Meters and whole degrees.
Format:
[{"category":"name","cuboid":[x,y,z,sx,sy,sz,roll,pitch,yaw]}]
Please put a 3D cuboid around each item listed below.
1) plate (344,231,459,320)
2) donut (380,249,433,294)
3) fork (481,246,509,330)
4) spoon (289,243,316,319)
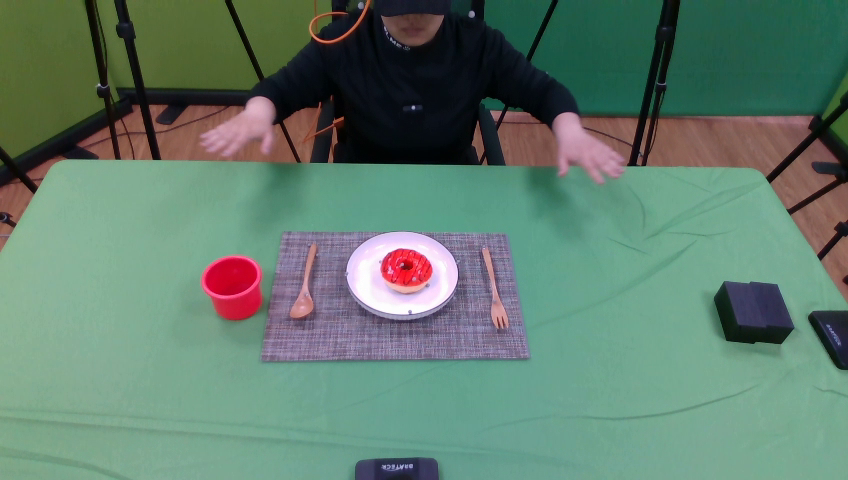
[{"category":"plate","cuboid":[-0.042,0.068,1.115,0.209,0.038,0.208,2,46,-2]},{"category":"donut","cuboid":[-0.032,0.056,1.111,0.099,0.048,0.098,4,43,-3]},{"category":"fork","cuboid":[0.128,0.084,1.125,0.028,0.019,0.206,-7,48,-1]},{"category":"spoon","cuboid":[-0.215,0.071,1.108,0.041,0.022,0.192,-10,45,10]}]
